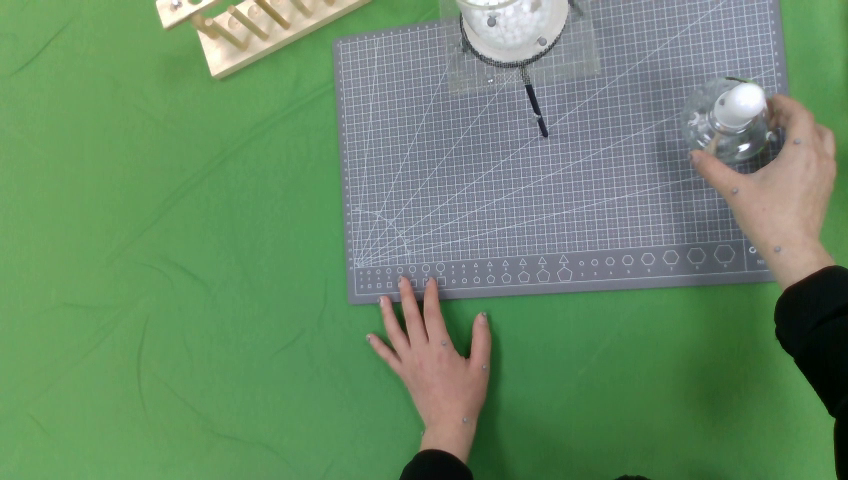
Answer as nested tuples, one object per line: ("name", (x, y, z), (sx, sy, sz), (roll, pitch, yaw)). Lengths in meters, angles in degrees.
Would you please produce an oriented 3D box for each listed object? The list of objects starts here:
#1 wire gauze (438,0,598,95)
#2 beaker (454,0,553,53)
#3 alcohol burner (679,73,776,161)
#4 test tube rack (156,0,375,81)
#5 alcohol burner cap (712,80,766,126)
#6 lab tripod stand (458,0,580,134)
("wire gauze", (0.074, -0.186, 0.497), (0.125, 0.011, 0.121), (-5, 90, 12))
("beaker", (0.056, -0.188, 0.452), (0.083, 0.100, 0.074), (9, 90, 16))
("alcohol burner", (0.264, -0.110, 0.520), (0.077, 0.119, 0.078), (-1, 87, 14))
("test tube rack", (-0.158, -0.266, 0.660), (0.242, 0.085, 0.066), (-22, 82, 13))
("alcohol burner cap", (0.254, -0.112, 0.485), (0.034, 0.048, 0.034), (0, 90, 12))
("lab tripod stand", (0.091, -0.181, 0.560), (0.148, 0.132, 0.148), (0, 88, 14))
